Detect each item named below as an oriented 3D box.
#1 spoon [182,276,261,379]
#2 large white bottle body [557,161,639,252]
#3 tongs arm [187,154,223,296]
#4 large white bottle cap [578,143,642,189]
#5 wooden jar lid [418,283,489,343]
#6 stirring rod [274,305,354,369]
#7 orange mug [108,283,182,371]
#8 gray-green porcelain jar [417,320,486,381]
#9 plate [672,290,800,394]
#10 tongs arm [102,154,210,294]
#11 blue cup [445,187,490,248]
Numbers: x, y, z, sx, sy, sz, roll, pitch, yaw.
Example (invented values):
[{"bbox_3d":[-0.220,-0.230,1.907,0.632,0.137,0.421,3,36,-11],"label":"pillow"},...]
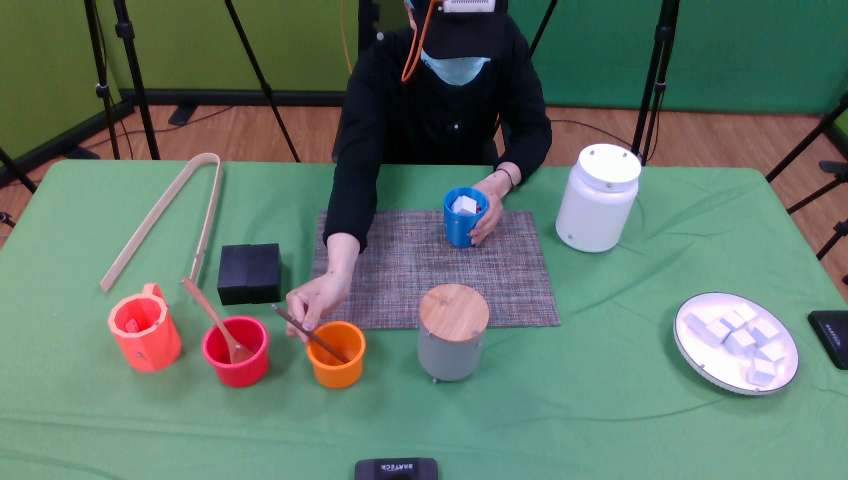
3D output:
[{"bbox_3d":[-0.320,0.137,0.957,0.041,0.021,0.194,-36,102,-32],"label":"spoon"},{"bbox_3d":[0.341,-0.081,1.185,0.131,0.185,0.130,2,46,-2],"label":"large white bottle body"},{"bbox_3d":[-0.442,-0.044,1.199,0.051,0.027,0.382,-4,46,1],"label":"tongs arm"},{"bbox_3d":[0.344,-0.139,1.123,0.115,0.018,0.114,2,46,-2],"label":"large white bottle cap"},{"bbox_3d":[0.045,0.114,0.931,0.108,0.021,0.107,2,49,-2],"label":"wooden jar lid"},{"bbox_3d":[-0.169,0.153,0.945,0.006,0.177,0.014,-40,31,8],"label":"stirring rod"},{"bbox_3d":[-0.445,0.134,0.982,0.083,0.101,0.125,-1,50,-5],"label":"orange mug"},{"bbox_3d":[0.042,0.158,0.975,0.106,0.127,0.105,2,46,-2],"label":"gray-green porcelain jar"},{"bbox_3d":[0.533,0.179,1.050,0.208,0.039,0.206,2,46,-2],"label":"plate"},{"bbox_3d":[-0.524,-0.046,1.203,0.028,0.028,0.385,4,46,13],"label":"tongs arm"},{"bbox_3d":[0.080,-0.039,1.188,0.093,0.101,0.092,3,45,-3],"label":"blue cup"}]
